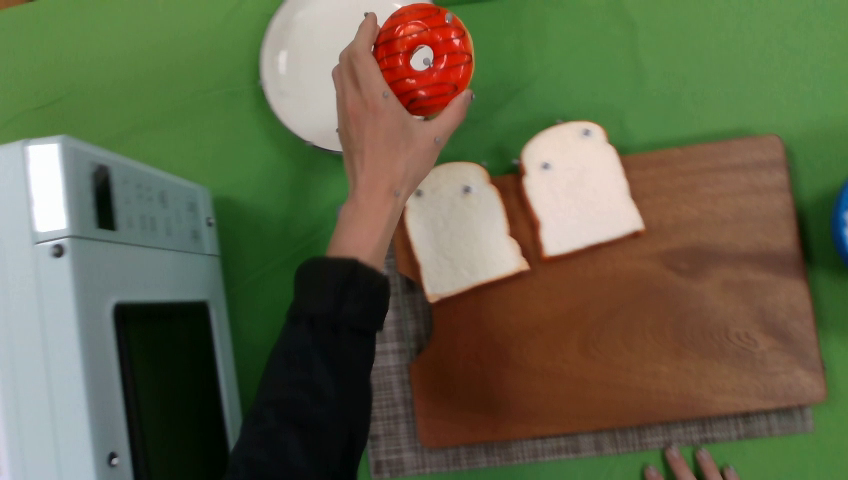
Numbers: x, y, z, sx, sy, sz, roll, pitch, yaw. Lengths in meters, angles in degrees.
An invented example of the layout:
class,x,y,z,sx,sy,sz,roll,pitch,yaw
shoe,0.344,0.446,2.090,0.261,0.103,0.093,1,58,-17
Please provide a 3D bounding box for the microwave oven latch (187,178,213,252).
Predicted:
class,x,y,z,sx,sy,sz,roll,pitch,yaw
microwave oven latch,-0.251,-0.025,0.656,0.030,0.029,0.079,-10,86,5

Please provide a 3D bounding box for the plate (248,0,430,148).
class,x,y,z,sx,sy,sz,roll,pitch,yaw
plate,-0.088,-0.201,0.666,0.207,0.039,0.207,0,87,7

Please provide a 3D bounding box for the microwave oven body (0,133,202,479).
class,x,y,z,sx,sy,sz,roll,pitch,yaw
microwave oven body,-0.374,0.170,0.562,0.326,0.261,0.440,-12,86,5

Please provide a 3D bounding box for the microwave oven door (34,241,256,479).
class,x,y,z,sx,sy,sz,roll,pitch,yaw
microwave oven door,-0.224,0.182,0.539,0.039,0.244,0.355,-12,85,6

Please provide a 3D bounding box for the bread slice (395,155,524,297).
class,x,y,z,sx,sy,sz,roll,pitch,yaw
bread slice,0.027,-0.019,0.622,0.107,0.018,0.134,-23,84,4

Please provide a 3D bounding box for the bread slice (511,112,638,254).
class,x,y,z,sx,sy,sz,roll,pitch,yaw
bread slice,0.144,-0.062,0.612,0.105,0.019,0.131,-19,85,4

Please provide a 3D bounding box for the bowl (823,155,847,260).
class,x,y,z,sx,sy,sz,roll,pitch,yaw
bowl,0.446,-0.028,0.572,0.151,0.077,0.151,0,87,7

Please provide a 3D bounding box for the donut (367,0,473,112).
class,x,y,z,sx,sy,sz,roll,pitch,yaw
donut,-0.004,-0.164,0.541,0.099,0.048,0.099,2,99,14
